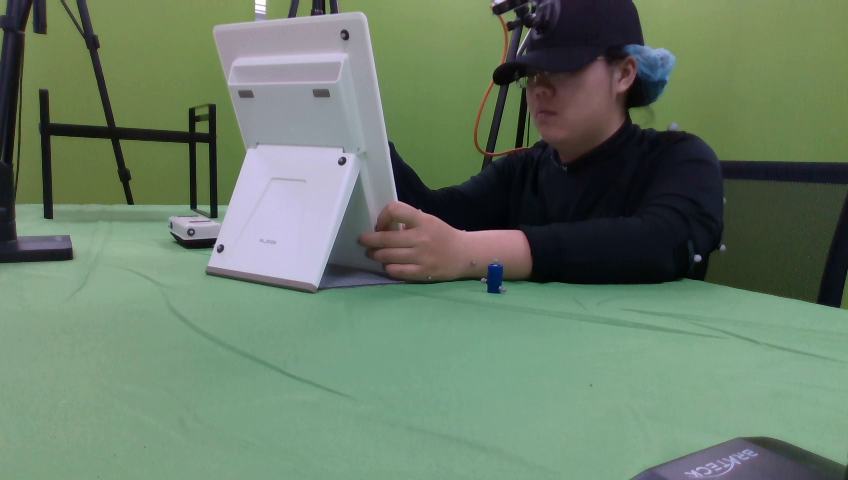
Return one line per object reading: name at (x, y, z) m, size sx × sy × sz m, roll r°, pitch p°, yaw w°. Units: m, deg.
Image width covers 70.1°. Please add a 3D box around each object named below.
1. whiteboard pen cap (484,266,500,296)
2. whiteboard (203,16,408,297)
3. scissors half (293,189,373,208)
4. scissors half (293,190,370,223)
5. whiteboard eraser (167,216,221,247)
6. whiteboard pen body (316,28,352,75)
whiteboard pen cap at (0.075, 0.046, 0.668) m, size 0.018 × 0.033 × 0.018 m, roll 3°, pitch 6°, yaw 0°
whiteboard at (-0.166, -0.072, 0.669) m, size 0.216 × 0.305 × 0.144 m, roll 8°, pitch 30°, yaw 30°
scissors half at (-0.201, -0.096, 1.332) m, size 0.175 × 0.040 × 0.013 m, roll 5°, pitch 18°, yaw -4°
scissors half at (-0.205, -0.077, 1.338) m, size 0.175 × 0.040 × 0.013 m, roll 22°, pitch 11°, yaw -8°
whiteboard eraser at (-0.350, -0.013, 0.920) m, size 0.056 × 0.042 × 0.112 m, roll 0°, pitch 7°, yaw -35°
whiteboard pen body at (-0.131, -0.273, 0.875) m, size 0.017 × 0.017 × 0.141 m, roll 4°, pitch -7°, yaw 11°
